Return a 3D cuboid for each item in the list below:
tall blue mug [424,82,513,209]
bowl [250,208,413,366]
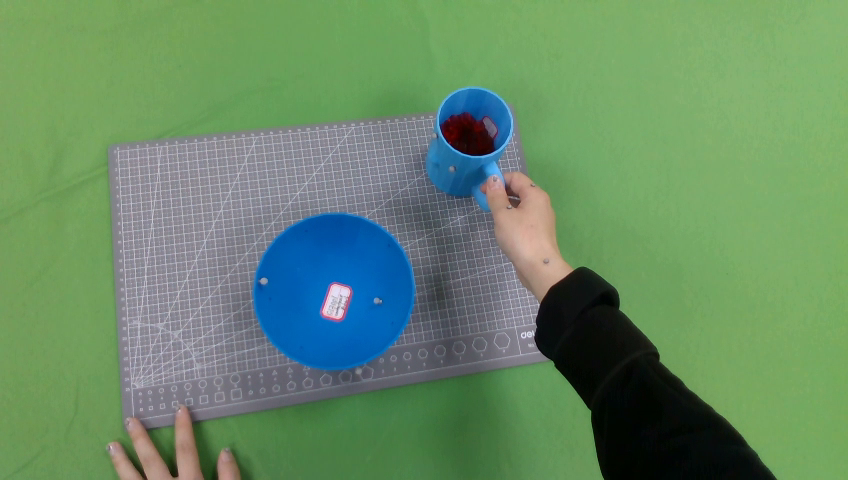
[{"bbox_3d":[0.055,-0.094,0.634,0.107,0.108,0.077,38,74,4],"label":"tall blue mug"},{"bbox_3d":[-0.088,0.050,0.599,0.151,0.077,0.150,2,76,-6],"label":"bowl"}]
